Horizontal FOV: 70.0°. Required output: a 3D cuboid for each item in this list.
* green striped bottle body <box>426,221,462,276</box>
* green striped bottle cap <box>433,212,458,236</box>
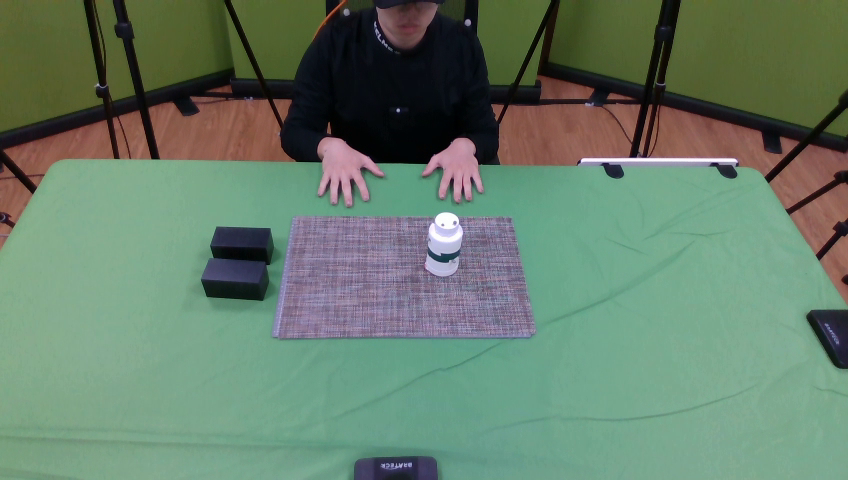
[{"bbox_3d":[0.037,0.007,1.122,0.063,0.120,0.063,2,46,-2],"label":"green striped bottle body"},{"bbox_3d":[0.039,-0.030,1.085,0.044,0.020,0.044,3,46,-3],"label":"green striped bottle cap"}]
